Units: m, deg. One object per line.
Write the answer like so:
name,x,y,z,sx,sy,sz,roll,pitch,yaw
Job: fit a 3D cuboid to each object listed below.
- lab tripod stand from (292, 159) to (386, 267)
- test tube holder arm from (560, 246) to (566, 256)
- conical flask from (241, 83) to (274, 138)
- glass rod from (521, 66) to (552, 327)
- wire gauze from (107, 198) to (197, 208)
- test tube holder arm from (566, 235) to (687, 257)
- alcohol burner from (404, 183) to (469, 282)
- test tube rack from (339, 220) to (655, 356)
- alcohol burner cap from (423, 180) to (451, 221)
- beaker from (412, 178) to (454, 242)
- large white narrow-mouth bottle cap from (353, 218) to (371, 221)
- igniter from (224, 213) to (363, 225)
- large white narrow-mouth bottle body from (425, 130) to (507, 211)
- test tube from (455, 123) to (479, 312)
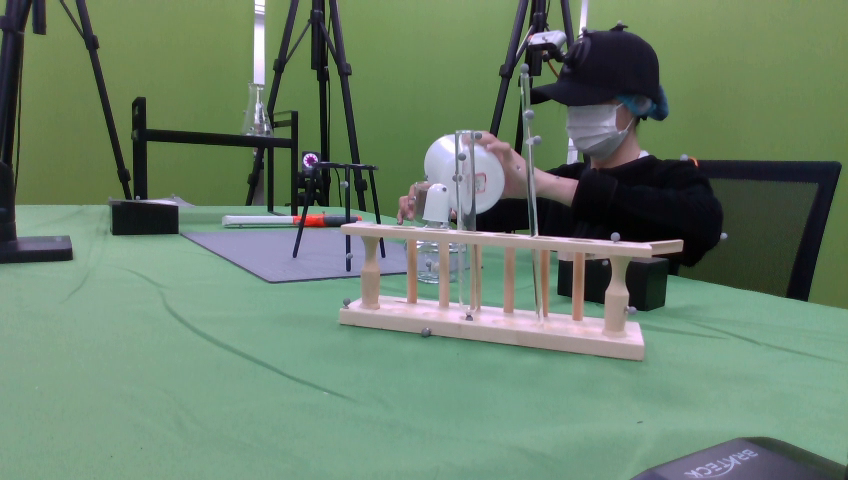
lab tripod stand,-0.105,-0.039,0.798,0.148,0.131,0.148,2,5,0
test tube holder arm,0.173,0.007,0.611,0.088,0.015,0.010,-3,9,-30
conical flask,-0.384,-0.297,1.393,0.075,0.122,0.075,2,7,0
glass rod,0.085,-0.028,0.454,0.008,0.199,0.008,-7,10,2
wire gauze,-0.462,-0.064,1.023,0.126,0.011,0.121,-2,7,-32
test tube holder arm,0.215,0.006,0.629,0.179,0.015,0.013,-3,9,-30
alcohol burner,0.015,-0.011,0.715,0.078,0.119,0.078,0,7,0
test tube rack,0.056,0.032,0.495,0.242,0.085,0.067,4,7,15
alcohol burner cap,0.017,-0.047,0.711,0.034,0.048,0.034,8,5,0
beaker,0.018,-0.052,1.063,0.074,0.100,0.083,-10,23,-39
large white narrow-mouth bottle cap,-0.120,-0.029,1.184,0.038,0.024,0.037,2,8,0
igniter,-0.255,-0.041,1.210,0.278,0.025,0.057,-2,-2,-31
large white narrow-mouth bottle body,0.055,-0.118,0.949,0.102,0.102,0.194,0,20,-13
test tube,0.034,-0.016,0.476,0.017,0.150,0.017,-2,10,1
